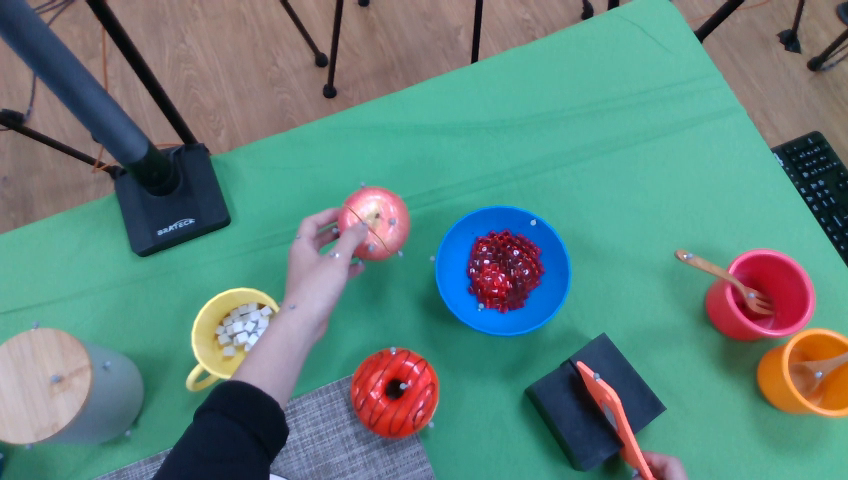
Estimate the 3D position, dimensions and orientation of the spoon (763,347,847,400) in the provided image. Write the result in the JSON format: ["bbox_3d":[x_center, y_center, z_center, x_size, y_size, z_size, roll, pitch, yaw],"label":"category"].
[{"bbox_3d":[0.447,0.115,0.632,0.022,0.194,0.041,-6,60,-49],"label":"spoon"}]

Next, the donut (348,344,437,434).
[{"bbox_3d":[-0.034,0.164,0.669,0.099,0.048,0.098,0,72,0],"label":"donut"}]

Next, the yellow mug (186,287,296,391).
[{"bbox_3d":[-0.211,0.120,0.677,0.099,0.064,0.130,42,77,14],"label":"yellow mug"}]

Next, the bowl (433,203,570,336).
[{"bbox_3d":[0.085,0.041,0.695,0.151,0.077,0.150,0,72,0],"label":"bowl"}]

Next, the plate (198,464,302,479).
[{"bbox_3d":[-0.180,0.337,0.615,0.208,0.039,0.206,0,72,0],"label":"plate"}]

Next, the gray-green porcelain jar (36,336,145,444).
[{"bbox_3d":[-0.365,0.158,0.633,0.106,0.127,0.105,0,71,1],"label":"gray-green porcelain jar"}]

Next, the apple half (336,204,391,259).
[{"bbox_3d":[-0.073,-0.001,0.667,0.081,0.082,0.033,43,80,14],"label":"apple half"}]

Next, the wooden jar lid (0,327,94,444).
[{"bbox_3d":[-0.366,0.138,0.574,0.108,0.021,0.107,0,70,1],"label":"wooden jar lid"}]

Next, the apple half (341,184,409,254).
[{"bbox_3d":[-0.047,-0.030,0.673,0.080,0.075,0.053,44,79,10],"label":"apple half"}]

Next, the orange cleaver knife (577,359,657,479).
[{"bbox_3d":[0.213,0.218,0.632,0.012,0.077,0.212,-29,101,-6],"label":"orange cleaver knife"}]

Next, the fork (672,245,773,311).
[{"bbox_3d":[0.328,0.042,0.657,0.209,0.018,0.028,24,66,-36],"label":"fork"}]
